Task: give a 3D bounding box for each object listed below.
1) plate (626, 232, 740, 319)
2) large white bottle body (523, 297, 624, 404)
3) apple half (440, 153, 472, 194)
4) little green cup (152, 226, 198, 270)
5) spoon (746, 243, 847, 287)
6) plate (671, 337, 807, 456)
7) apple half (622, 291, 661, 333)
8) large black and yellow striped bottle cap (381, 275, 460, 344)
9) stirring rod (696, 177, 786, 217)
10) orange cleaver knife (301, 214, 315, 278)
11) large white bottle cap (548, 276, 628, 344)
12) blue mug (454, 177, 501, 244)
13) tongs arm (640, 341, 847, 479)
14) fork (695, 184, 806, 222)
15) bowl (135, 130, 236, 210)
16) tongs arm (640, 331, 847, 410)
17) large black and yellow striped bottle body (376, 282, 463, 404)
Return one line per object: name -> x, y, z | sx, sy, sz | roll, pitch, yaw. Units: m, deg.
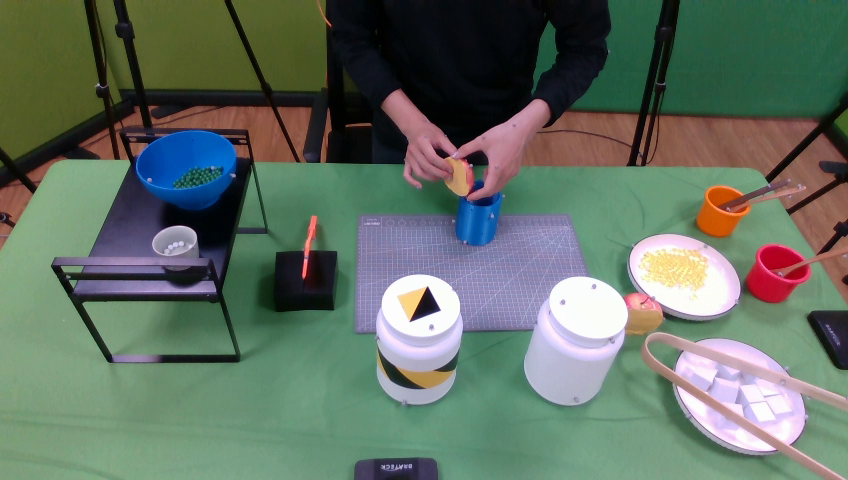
plate -> 0.489, 0.070, 1.157 | 0.209, 0.038, 0.208 | 3, 46, -3
large white bottle body -> 0.235, 0.159, 0.952 | 0.131, 0.185, 0.130 | 2, 47, -2
apple half -> 0.064, -0.127, 1.108 | 0.033, 0.081, 0.081 | -23, 52, -30
little green cup -> -0.364, 0.013, 0.894 | 0.061, 0.039, 0.061 | 3, 47, -3
spoon -> 0.702, 0.044, 1.126 | 0.194, 0.022, 0.041 | -29, 38, 30
plate -> 0.503, 0.254, 0.984 | 0.208, 0.039, 0.206 | 2, 46, -2
apple half -> 0.372, 0.123, 1.074 | 0.081, 0.075, 0.053 | 0, 42, 1
large black and yellow striped bottle cap -> -0.005, 0.098, 0.875 | 0.115, 0.019, 0.114 | 2, 45, -2
stirring rod -> 0.648, -0.087, 1.244 | 0.176, 0.006, 0.014 | -25, 50, 29
orange cleaver knife -> -0.218, 0.007, 1.131 | 0.012, 0.077, 0.210 | 7, 19, -9
large white bottle cap -> 0.240, 0.100, 0.890 | 0.115, 0.018, 0.114 | 3, 47, -3
blue mug -> 0.106, -0.067, 1.208 | 0.082, 0.106, 0.116 | 6, 46, 1
tongs arm -> 0.500, 0.278, 0.919 | 0.386, 0.028, 0.028 | 34, 59, 22
fork -> 0.658, -0.074, 1.230 | 0.207, 0.019, 0.028 | -24, 33, 36
bowl -> -0.375, -0.102, 0.978 | 0.151, 0.077, 0.150 | 2, 46, -2
tongs arm -> 0.543, 0.226, 0.969 | 0.384, 0.026, 0.050 | 22, 52, 13
large black and yellow striped bottle body -> -0.010, 0.155, 0.937 | 0.131, 0.185, 0.130 | 2, 47, -2
